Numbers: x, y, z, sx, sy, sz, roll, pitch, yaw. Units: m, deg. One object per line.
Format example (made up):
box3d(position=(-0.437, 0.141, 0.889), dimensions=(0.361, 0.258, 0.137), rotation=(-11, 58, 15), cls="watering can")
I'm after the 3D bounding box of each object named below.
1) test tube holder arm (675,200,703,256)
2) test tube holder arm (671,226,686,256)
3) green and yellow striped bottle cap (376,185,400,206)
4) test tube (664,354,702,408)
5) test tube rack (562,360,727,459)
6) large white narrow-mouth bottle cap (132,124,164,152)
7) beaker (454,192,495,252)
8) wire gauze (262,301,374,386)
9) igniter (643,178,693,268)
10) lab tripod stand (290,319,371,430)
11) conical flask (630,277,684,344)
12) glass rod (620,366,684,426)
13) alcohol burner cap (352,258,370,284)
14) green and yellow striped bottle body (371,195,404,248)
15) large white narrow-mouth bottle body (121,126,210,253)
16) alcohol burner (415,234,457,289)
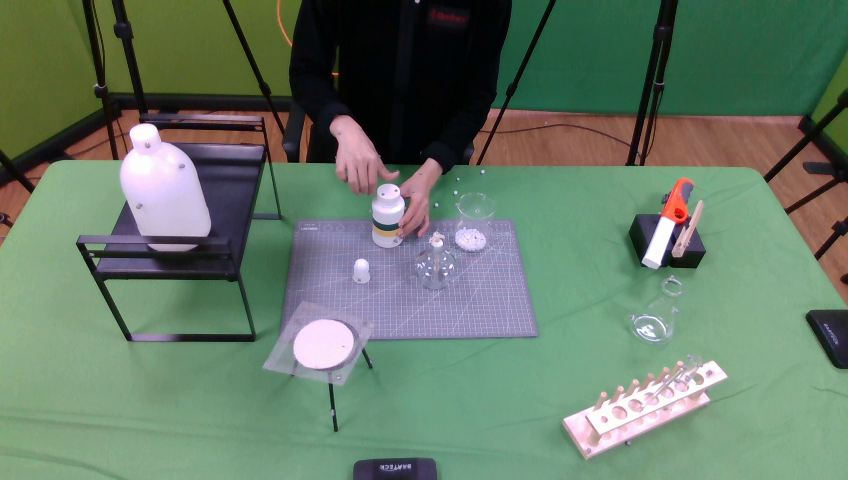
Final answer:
box3d(position=(0.523, -0.025, 1.190), dimensions=(0.013, 0.015, 0.178), rotation=(1, 36, 41), cls="test tube holder arm")
box3d(position=(0.494, 0.001, 1.167), dimensions=(0.010, 0.015, 0.087), rotation=(1, 36, 42), cls="test tube holder arm")
box3d(position=(-0.067, -0.084, 1.125), dimensions=(0.045, 0.020, 0.045), rotation=(0, 38, 0), cls="green and yellow striped bottle cap")
box3d(position=(0.385, 0.215, 0.906), dimensions=(0.017, 0.151, 0.017), rotation=(-1, 49, 1), cls="test tube")
box3d(position=(0.341, 0.247, 0.940), dimensions=(0.243, 0.085, 0.066), rotation=(-16, 49, -18), cls="test tube rack")
box3d(position=(-0.371, -0.137, 0.813), dimensions=(0.038, 0.024, 0.037), rotation=(3, 46, -3), cls="large white narrow-mouth bottle cap")
box3d(position=(0.097, -0.034, 1.180), dimensions=(0.074, 0.101, 0.084), rotation=(23, 48, 16), cls="beaker")
box3d(position=(-0.150, 0.148, 0.873), dimensions=(0.121, 0.011, 0.124), rotation=(14, 46, 12), cls="wire gauze")
box3d(position=(0.488, -0.042, 1.205), dimensions=(0.057, 0.025, 0.276), rotation=(30, 51, 11), cls="igniter")
box3d(position=(-0.146, 0.193, 0.923), dimensions=(0.148, 0.132, 0.147), rotation=(1, 47, -1), cls="lab tripod stand")
box3d(position=(0.408, 0.117, 1.045), dimensions=(0.075, 0.122, 0.075), rotation=(2, 46, -2), cls="conical flask")
box3d(position=(0.322, 0.227, 0.866), dimensions=(0.008, 0.200, 0.008), rotation=(6, 51, -7), cls="glass rod")
box3d(position=(-0.117, 0.055, 1.118), dimensions=(0.034, 0.048, 0.033), rotation=(1, 46, -1), cls="alcohol burner cap")
box3d(position=(-0.071, -0.047, 1.166), dimensions=(0.063, 0.120, 0.063), rotation=(2, 46, -2), cls="green and yellow striped bottle body")
box3d(position=(-0.378, -0.077, 0.875), dimensions=(0.102, 0.195, 0.101), rotation=(3, 46, -3), cls="large white narrow-mouth bottle body")
box3d(position=(0.022, 0.033, 1.100), dimensions=(0.078, 0.120, 0.077), rotation=(1, 47, -1), cls="alcohol burner")
